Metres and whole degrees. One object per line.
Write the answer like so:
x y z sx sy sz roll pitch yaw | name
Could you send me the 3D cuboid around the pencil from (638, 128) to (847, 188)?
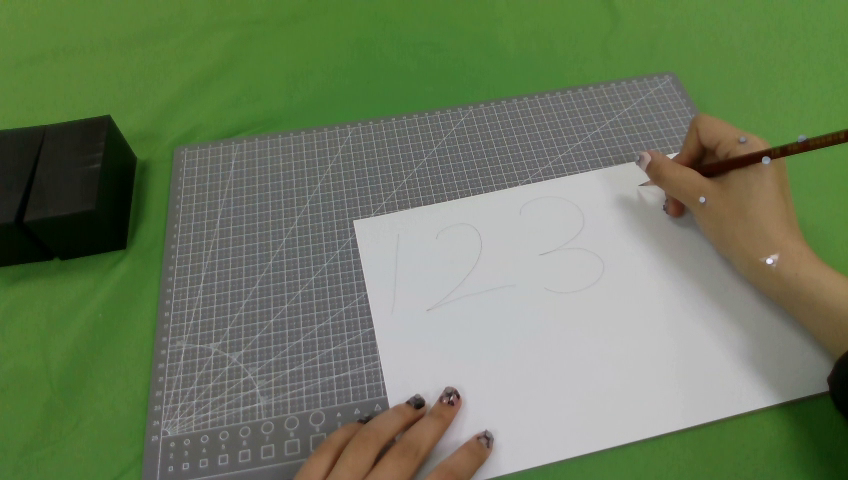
0.208 -0.051 0.387 0.012 0.193 0.012 3 83 -25 | pencil
